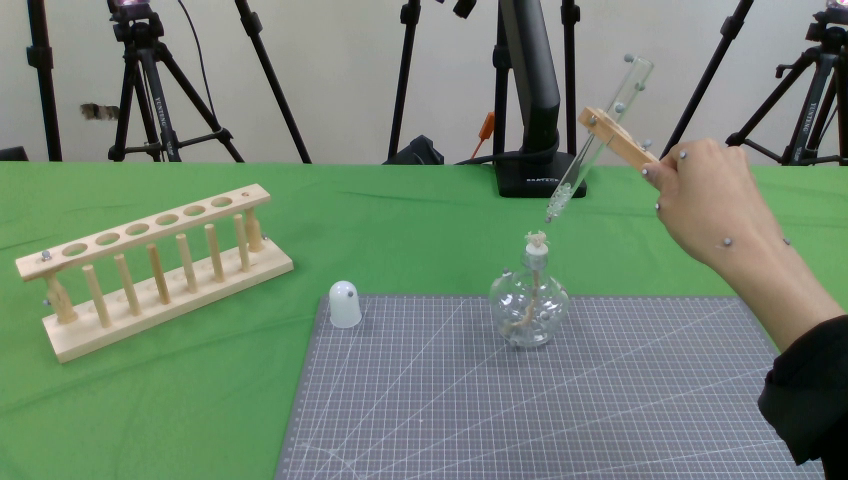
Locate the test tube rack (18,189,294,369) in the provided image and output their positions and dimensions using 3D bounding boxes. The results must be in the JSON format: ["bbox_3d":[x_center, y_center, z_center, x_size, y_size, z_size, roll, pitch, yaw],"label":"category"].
[{"bbox_3d":[-0.264,0.032,0.628,0.243,0.086,0.066,-24,40,-31],"label":"test tube rack"}]

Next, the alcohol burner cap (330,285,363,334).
[{"bbox_3d":[-0.079,0.067,0.607,0.034,0.048,0.033,0,35,0],"label":"alcohol burner cap"}]

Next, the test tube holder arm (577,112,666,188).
[{"bbox_3d":[0.154,-0.072,0.474,0.010,0.015,0.087,-13,50,-40],"label":"test tube holder arm"}]

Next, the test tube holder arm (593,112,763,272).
[{"bbox_3d":[0.181,-0.043,0.454,0.013,0.015,0.176,-7,46,-34],"label":"test tube holder arm"}]

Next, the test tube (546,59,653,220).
[{"bbox_3d":[0.140,-0.077,0.498,0.017,0.151,0.017,18,32,-12],"label":"test tube"}]

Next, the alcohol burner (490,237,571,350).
[{"bbox_3d":[0.102,0.046,0.573,0.078,0.120,0.077,1,35,0],"label":"alcohol burner"}]
